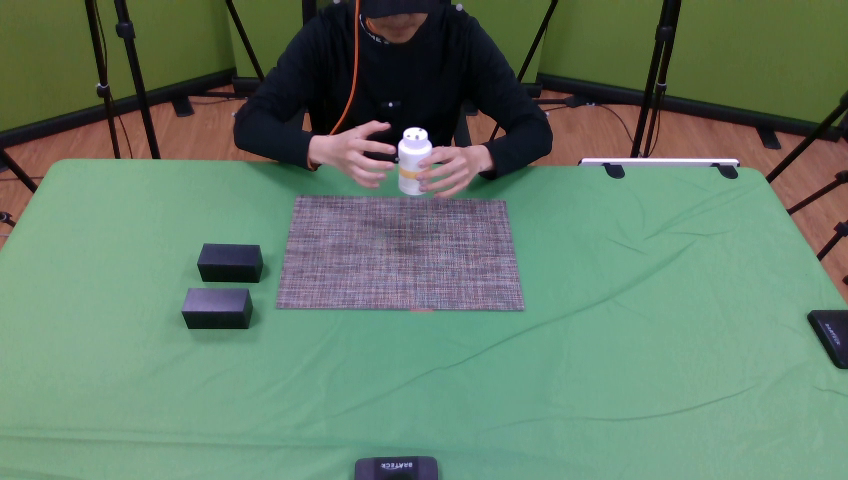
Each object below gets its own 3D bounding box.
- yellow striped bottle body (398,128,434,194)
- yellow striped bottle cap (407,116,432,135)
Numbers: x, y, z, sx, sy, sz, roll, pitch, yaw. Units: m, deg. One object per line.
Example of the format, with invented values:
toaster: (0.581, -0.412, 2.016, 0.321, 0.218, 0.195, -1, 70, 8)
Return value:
yellow striped bottle body: (-0.015, -0.151, 1.133, 0.063, 0.121, 0.062, -2, 39, 2)
yellow striped bottle cap: (-0.008, -0.205, 1.086, 0.044, 0.019, 0.044, 7, 35, -4)
